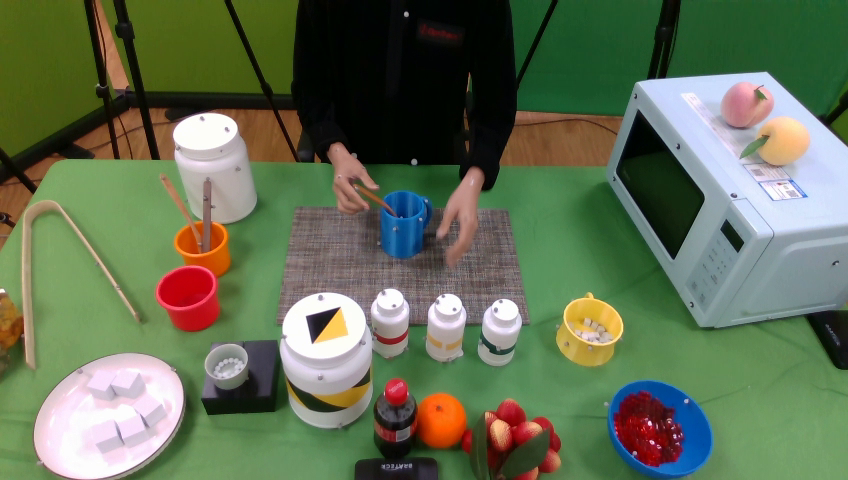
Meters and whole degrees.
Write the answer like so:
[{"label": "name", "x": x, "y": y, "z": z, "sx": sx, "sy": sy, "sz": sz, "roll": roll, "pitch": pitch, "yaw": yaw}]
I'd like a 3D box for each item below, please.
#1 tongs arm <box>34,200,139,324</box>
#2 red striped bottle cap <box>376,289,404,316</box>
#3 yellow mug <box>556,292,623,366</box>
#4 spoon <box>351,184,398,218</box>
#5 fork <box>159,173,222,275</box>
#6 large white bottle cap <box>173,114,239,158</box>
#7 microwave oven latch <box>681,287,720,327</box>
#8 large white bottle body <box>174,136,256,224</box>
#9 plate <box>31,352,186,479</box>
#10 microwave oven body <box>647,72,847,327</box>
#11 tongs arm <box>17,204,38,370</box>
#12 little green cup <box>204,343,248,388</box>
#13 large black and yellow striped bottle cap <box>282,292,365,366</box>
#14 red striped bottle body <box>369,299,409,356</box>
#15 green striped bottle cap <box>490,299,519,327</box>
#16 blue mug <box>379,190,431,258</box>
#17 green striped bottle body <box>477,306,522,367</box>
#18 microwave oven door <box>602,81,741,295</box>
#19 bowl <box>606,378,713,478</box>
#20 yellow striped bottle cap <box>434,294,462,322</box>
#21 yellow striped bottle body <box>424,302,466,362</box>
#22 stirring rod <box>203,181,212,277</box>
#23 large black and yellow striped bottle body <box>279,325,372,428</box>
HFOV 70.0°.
[{"label": "tongs arm", "x": -0.622, "y": 0.034, "z": 1.105, "sx": 0.051, "sy": 0.026, "sz": 0.382, "roll": -32, "pitch": 56, "yaw": -26}, {"label": "red striped bottle cap", "x": -0.055, "y": 0.098, "z": 0.959, "sx": 0.044, "sy": 0.018, "sz": 0.044, "roll": 0, "pitch": 48, "yaw": 0}, {"label": "yellow mug", "x": 0.285, "y": 0.145, "z": 1.051, "sx": 0.100, "sy": 0.064, "sz": 0.130, "roll": 7, "pitch": 45, "yaw": 3}, {"label": "spoon", "x": -0.070, "y": -0.056, "z": 1.124, "sx": 0.021, "sy": 0.195, "sz": 0.041, "roll": -35, "pitch": 47, "yaw": 12}, {"label": "fork", "x": -0.427, "y": -0.029, "z": 1.103, "sx": 0.028, "sy": 0.018, "sz": 0.207, "roll": -31, "pitch": 99, "yaw": -30}, {"label": "large white bottle cap", "x": -0.403, "y": -0.195, "z": 1.122, "sx": 0.115, "sy": 0.018, "sz": 0.114, "roll": 2, "pitch": 47, "yaw": -2}, {"label": "microwave oven latch", "x": 0.494, "y": 0.119, "z": 1.087, "sx": 0.030, "sy": 0.029, "sz": 0.078, "roll": -6, "pitch": 46, "yaw": -9}, {"label": "large white bottle body", "x": -0.408, "y": -0.137, "z": 1.183, "sx": 0.131, "sy": 0.185, "sz": 0.130, "roll": 2, "pitch": 46, "yaw": -2}, {"label": "plate", "x": -0.459, "y": 0.262, "z": 0.898, "sx": 0.209, "sy": 0.038, "sz": 0.208, "roll": 2, "pitch": 46, "yaw": -2}, {"label": "microwave oven body", "x": 0.607, "y": -0.089, "z": 1.164, "sx": 0.326, "sy": 0.261, "sz": 0.438, "roll": -7, "pitch": 46, "yaw": -10}, {"label": "tongs arm", "x": -0.698, "y": 0.069, "z": 1.068, "sx": 0.028, "sy": 0.028, "sz": 0.385, "roll": -20, "pitch": 50, "yaw": -13}, {"label": "little green cup", "x": -0.294, "y": 0.191, "z": 0.909, "sx": 0.061, "sy": 0.039, "sz": 0.061, "roll": 1, "pitch": 48, "yaw": -1}, {"label": "large black and yellow striped bottle cap", "x": -0.138, "y": 0.121, "z": 0.841, "sx": 0.115, "sy": 0.019, "sz": 0.114, "roll": 3, "pitch": 47, "yaw": -3}, {"label": "red striped bottle body", "x": -0.058, "y": 0.134, "z": 0.997, "sx": 0.063, "sy": 0.120, "sz": 0.062, "roll": 4, "pitch": 47, "yaw": -4}, {"label": "green striped bottle cap", "x": 0.128, "y": 0.115, "z": 0.958, "sx": 0.044, "sy": 0.020, "sz": 0.044, "roll": 2, "pitch": 47, "yaw": -2}, {"label": "blue mug", "x": -0.032, "y": -0.037, "z": 1.169, "sx": 0.116, "sy": 0.106, "sz": 0.082, "roll": -29, "pitch": 55, "yaw": -28}, {"label": "green striped bottle body", "x": 0.124, "y": 0.151, "z": 0.995, "sx": 0.063, "sy": 0.120, "sz": 0.063, "roll": 2, "pitch": 46, "yaw": -2}, {"label": "microwave oven door", "x": 0.456, "y": -0.107, "z": 1.162, "sx": 0.039, "sy": 0.245, "sz": 0.353, "roll": -7, "pitch": 47, "yaw": -11}, {"label": "bowl", "x": 0.340, "y": 0.292, "z": 0.906, "sx": 0.151, "sy": 0.077, "sz": 0.150, "roll": 2, "pitch": 46, "yaw": -2}, {"label": "yellow striped bottle cap", "x": 0.037, "y": 0.107, "z": 0.958, "sx": 0.044, "sy": 0.019, "sz": 0.044, "roll": 2, "pitch": 45, "yaw": -2}, {"label": "yellow striped bottle body", "x": 0.035, "y": 0.143, "z": 0.995, "sx": 0.063, "sy": 0.121, "sz": 0.062, "roll": 3, "pitch": 46, "yaw": -3}, {"label": "stirring rod", "x": -0.396, "y": -0.021, "z": 1.108, "sx": 0.014, "sy": 0.006, "sz": 0.176, "roll": -1, "pitch": 89, "yaw": -1}, {"label": "large black and yellow striped bottle body", "x": -0.143, "y": 0.181, "z": 0.900, "sx": 0.131, "sy": 0.185, "sz": 0.130, "roll": 2, "pitch": 46, "yaw": -2}]
